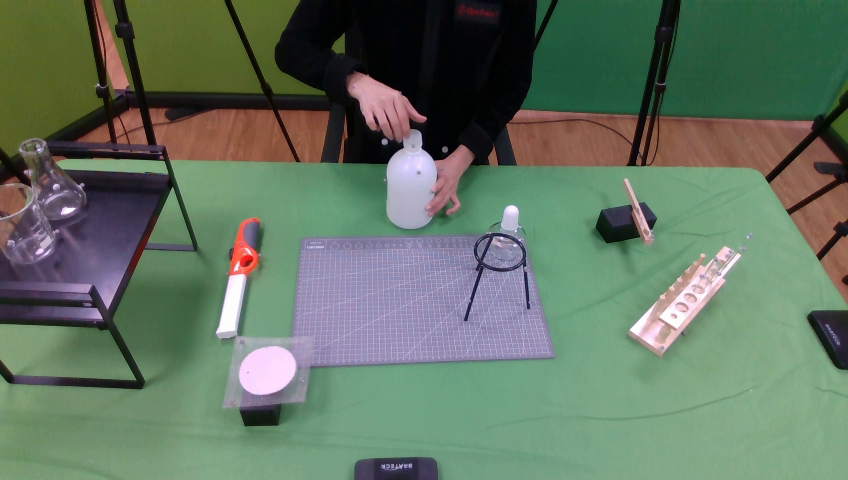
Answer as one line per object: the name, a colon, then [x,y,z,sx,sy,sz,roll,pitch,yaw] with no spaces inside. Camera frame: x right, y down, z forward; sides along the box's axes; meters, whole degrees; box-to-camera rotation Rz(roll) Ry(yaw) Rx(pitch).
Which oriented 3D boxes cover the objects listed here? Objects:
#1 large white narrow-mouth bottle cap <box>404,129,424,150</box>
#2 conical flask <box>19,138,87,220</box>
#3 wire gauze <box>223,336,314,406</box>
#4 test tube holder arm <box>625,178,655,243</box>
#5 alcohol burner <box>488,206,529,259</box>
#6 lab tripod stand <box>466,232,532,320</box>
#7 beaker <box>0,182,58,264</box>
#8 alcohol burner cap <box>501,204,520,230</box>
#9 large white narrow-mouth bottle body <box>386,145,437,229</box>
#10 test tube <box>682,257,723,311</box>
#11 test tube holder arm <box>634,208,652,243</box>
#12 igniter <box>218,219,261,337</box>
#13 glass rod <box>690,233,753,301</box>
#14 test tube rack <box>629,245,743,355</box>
large white narrow-mouth bottle cap: [-0.018,-0.186,1.120,0.038,0.024,0.037,3,46,-3]
conical flask: [-0.576,-0.097,0.930,0.075,0.122,0.075,2,46,-2]
wire gauze: [-0.237,0.197,0.931,0.121,0.011,0.124,1,45,-4]
test tube holder arm: [0.433,-0.062,1.220,0.013,0.015,0.177,1,47,-3]
alcohol burner: [0.163,-0.020,1.158,0.078,0.120,0.077,1,47,0]
lab tripod stand: [0.125,0.059,1.065,0.148,0.132,0.147,1,45,0]
beaker: [-0.582,-0.019,0.870,0.074,0.101,0.083,5,46,1]
alcohol burner cap: [0.164,-0.046,1.133,0.034,0.048,0.033,2,40,-2]
large white narrow-mouth bottle body: [-0.024,-0.120,1.191,0.102,0.195,0.101,3,46,-2]
test tube: [0.475,0.080,1.037,0.017,0.151,0.017,1,51,-1]
test tube holder arm: [0.428,-0.030,1.189,0.010,0.015,0.087,2,47,-3]
igniter: [-0.336,0.060,1.111,0.057,0.025,0.274,-8,46,3]
glass rod: [0.507,0.053,1.041,0.008,0.200,0.008,5,51,-6]
test tube rack: [0.474,0.095,1.091,0.242,0.085,0.066,-34,56,-31]
